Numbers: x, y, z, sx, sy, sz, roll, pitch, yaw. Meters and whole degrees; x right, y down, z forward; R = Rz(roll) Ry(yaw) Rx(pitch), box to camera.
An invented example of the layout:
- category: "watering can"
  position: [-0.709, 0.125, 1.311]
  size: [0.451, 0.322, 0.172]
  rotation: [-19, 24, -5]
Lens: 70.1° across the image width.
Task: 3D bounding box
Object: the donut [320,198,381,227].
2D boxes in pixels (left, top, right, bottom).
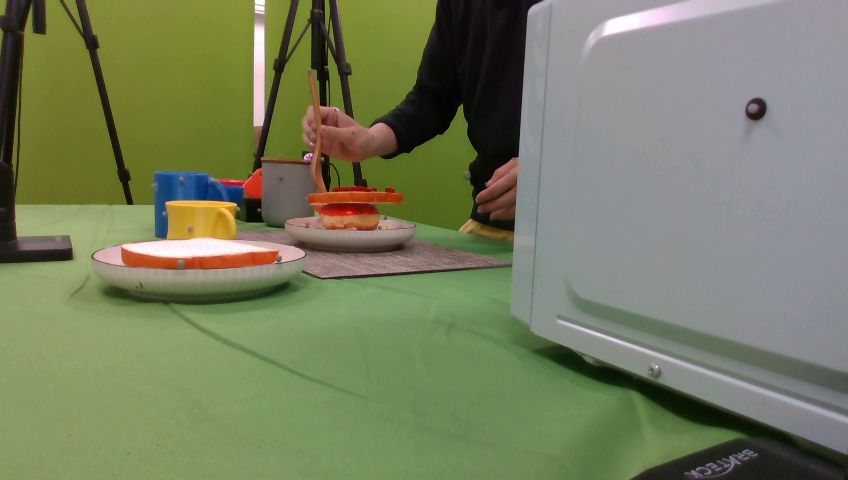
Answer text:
- category: "donut"
  position: [-0.117, -0.042, 0.965]
  size: [0.099, 0.048, 0.099]
  rotation: [-9, -7, -1]

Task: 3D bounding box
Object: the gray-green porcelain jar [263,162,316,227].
- category: "gray-green porcelain jar"
  position: [-0.271, -0.092, 1.217]
  size: [0.106, 0.126, 0.106]
  rotation: [2, 7, 0]

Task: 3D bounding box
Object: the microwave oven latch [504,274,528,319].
- category: "microwave oven latch"
  position: [0.100, 0.041, 0.471]
  size: [0.079, 0.029, 0.030]
  rotation: [-1, 7, -28]

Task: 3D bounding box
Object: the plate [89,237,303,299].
- category: "plate"
  position: [-0.233, 0.029, 0.637]
  size: [0.208, 0.039, 0.207]
  rotation: [2, 7, 0]

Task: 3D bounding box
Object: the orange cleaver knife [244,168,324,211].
- category: "orange cleaver knife"
  position: [-0.300, -0.089, 1.351]
  size: [0.212, 0.077, 0.012]
  rotation: [28, -9, -34]

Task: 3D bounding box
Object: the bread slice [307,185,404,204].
- category: "bread slice"
  position: [-0.114, -0.071, 0.951]
  size: [0.134, 0.018, 0.107]
  rotation: [-3, 0, 21]

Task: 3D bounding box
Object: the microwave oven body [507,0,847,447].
- category: "microwave oven body"
  position: [0.331, -0.042, 0.425]
  size: [0.444, 0.260, 0.324]
  rotation: [-2, 8, -31]

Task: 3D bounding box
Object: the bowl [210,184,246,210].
- category: "bowl"
  position: [-0.422, -0.067, 1.166]
  size: [0.151, 0.077, 0.151]
  rotation: [2, 7, 0]

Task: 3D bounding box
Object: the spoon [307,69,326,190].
- category: "spoon"
  position: [-0.168, -0.170, 0.944]
  size: [0.021, 0.193, 0.041]
  rotation: [-2, 1, 8]

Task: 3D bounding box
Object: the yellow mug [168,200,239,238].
- category: "yellow mug"
  position: [-0.319, -0.023, 0.904]
  size: [0.130, 0.064, 0.100]
  rotation: [9, 11, 36]

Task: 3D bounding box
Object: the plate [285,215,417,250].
- category: "plate"
  position: [-0.116, -0.014, 0.964]
  size: [0.209, 0.038, 0.209]
  rotation: [2, 7, 0]

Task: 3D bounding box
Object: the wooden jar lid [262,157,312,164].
- category: "wooden jar lid"
  position: [-0.269, -0.154, 1.208]
  size: [0.108, 0.020, 0.108]
  rotation: [3, 4, 0]

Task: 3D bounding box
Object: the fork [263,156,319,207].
- category: "fork"
  position: [-0.331, -0.144, 1.505]
  size: [0.207, 0.018, 0.028]
  rotation: [-42, -20, 22]

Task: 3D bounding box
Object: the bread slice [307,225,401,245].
- category: "bread slice"
  position: [-0.103, -0.009, 0.962]
  size: [0.131, 0.019, 0.105]
  rotation: [1, 9, 25]

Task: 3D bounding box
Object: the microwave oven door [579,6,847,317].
- category: "microwave oven door"
  position: [0.295, -0.067, 0.570]
  size: [0.358, 0.243, 0.039]
  rotation: [-3, 9, -31]

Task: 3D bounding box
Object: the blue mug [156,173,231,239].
- category: "blue mug"
  position: [-0.381, -0.057, 1.004]
  size: [0.117, 0.106, 0.082]
  rotation: [0, 8, -12]
